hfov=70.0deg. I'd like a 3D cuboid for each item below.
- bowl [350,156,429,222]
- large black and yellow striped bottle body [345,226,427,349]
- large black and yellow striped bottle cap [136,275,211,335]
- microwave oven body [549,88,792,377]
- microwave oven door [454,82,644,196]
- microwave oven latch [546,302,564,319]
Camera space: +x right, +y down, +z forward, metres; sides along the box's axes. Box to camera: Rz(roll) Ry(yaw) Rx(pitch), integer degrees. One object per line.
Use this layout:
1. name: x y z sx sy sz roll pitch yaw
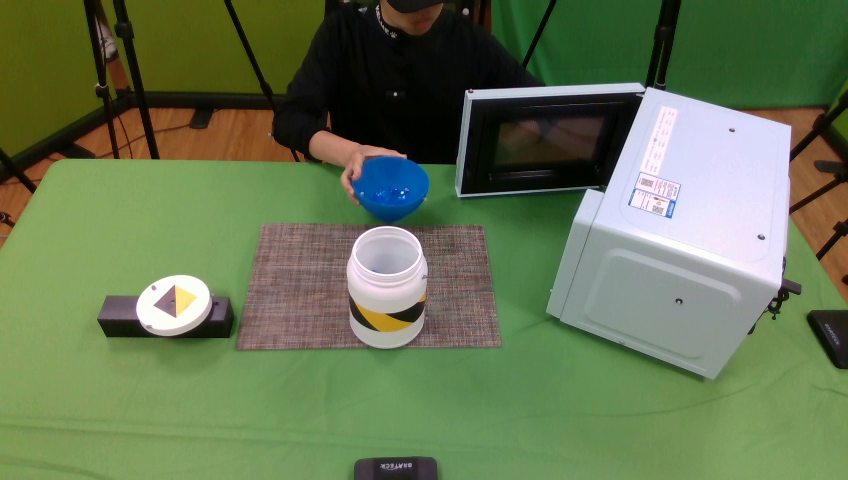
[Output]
1. bowl: -0.068 -0.088 1.186 0.151 0.077 0.150 3 45 -3
2. large black and yellow striped bottle body: -0.062 0.078 0.998 0.131 0.185 0.130 2 46 -2
3. large black and yellow striped bottle cap: -0.412 0.105 0.999 0.115 0.019 0.114 3 46 -3
4. microwave oven body: 0.456 -0.028 1.088 0.325 0.261 0.440 20 47 16
5. microwave oven door: 0.247 -0.202 1.233 0.356 0.245 0.039 -5 47 -8
6. microwave oven latch: 0.242 0.102 1.081 0.030 0.029 0.079 21 48 17
